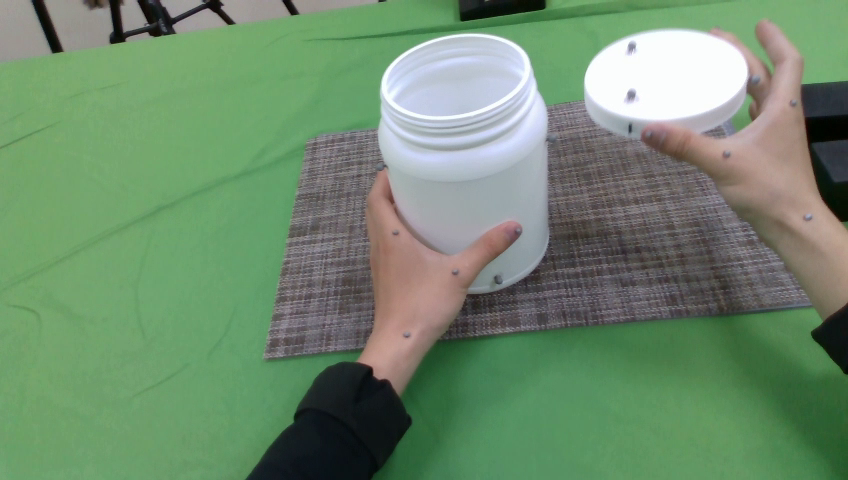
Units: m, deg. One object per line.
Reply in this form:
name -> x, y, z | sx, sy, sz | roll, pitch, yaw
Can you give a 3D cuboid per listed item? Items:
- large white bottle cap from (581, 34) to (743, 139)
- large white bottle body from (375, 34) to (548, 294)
large white bottle cap -> 0.177, -0.119, 0.458 | 0.114, 0.018, 0.113 | -9, 46, 10
large white bottle body -> 0.034, -0.058, 0.497 | 0.130, 0.186, 0.129 | -6, 47, 7
